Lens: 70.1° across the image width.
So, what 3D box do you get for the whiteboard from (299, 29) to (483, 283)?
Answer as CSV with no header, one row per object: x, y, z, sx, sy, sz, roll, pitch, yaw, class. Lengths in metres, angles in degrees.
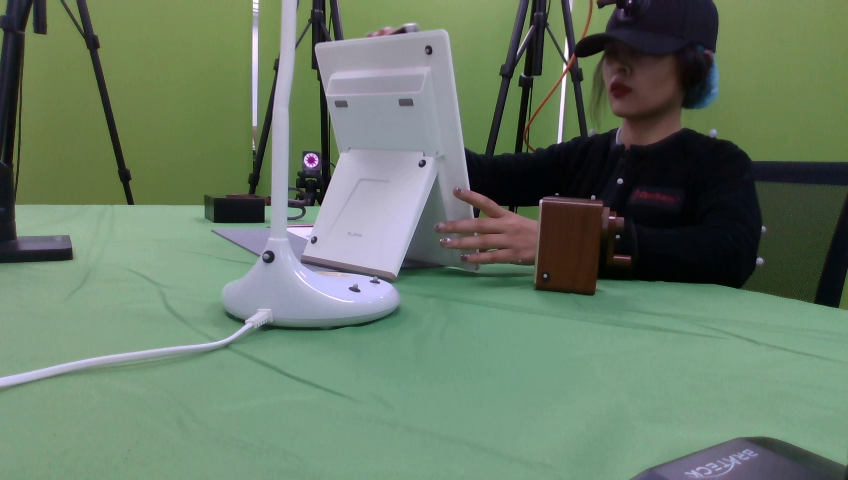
-0.074,-0.082,0.742,0.216,0.305,0.144,9,30,38,whiteboard

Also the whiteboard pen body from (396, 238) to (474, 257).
0.014,0.012,0.886,0.140,0.017,0.017,9,10,38,whiteboard pen body

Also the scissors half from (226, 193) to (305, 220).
-0.341,-0.077,1.310,0.176,0.040,0.012,17,12,-33,scissors half

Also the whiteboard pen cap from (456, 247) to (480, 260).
0.061,0.019,0.851,0.033,0.018,0.018,4,7,35,whiteboard pen cap

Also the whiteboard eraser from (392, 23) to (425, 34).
-0.042,-0.239,0.793,0.112,0.055,0.042,-7,18,40,whiteboard eraser

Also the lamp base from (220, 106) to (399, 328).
-0.101,-0.023,0.531,0.160,0.180,0.179,4,10,10,lamp base

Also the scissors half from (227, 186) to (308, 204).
-0.336,-0.096,1.305,0.176,0.040,0.013,-3,17,-29,scissors half

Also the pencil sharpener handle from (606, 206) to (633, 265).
0.222,-0.004,0.683,0.030,0.068,0.036,5,21,16,pencil sharpener handle

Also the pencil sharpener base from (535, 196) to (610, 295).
0.172,0.005,0.695,0.076,0.107,0.061,5,7,16,pencil sharpener base

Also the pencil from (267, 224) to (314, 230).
-0.221,-0.028,1.211,0.195,0.012,0.012,-5,10,-34,pencil
